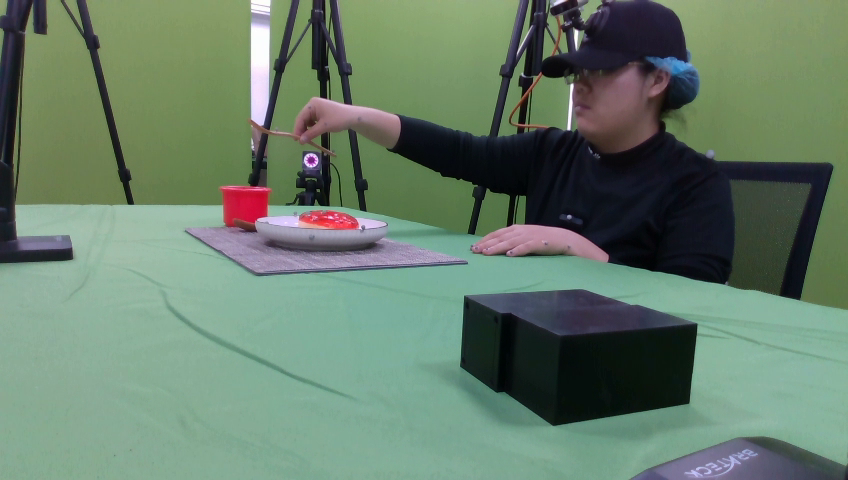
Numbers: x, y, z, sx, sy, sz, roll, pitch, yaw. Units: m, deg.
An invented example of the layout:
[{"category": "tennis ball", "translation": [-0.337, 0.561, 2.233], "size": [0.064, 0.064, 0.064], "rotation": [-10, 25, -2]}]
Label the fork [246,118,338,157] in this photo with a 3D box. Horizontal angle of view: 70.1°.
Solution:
[{"category": "fork", "translation": [-0.242, -0.190, 1.139], "size": [0.028, 0.018, 0.208], "rotation": [15, 1, 42]}]

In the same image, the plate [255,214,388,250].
[{"category": "plate", "translation": [-0.161, -0.013, 0.961], "size": [0.209, 0.038, 0.209], "rotation": [2, 7, 0]}]

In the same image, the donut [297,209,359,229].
[{"category": "donut", "translation": [-0.151, -0.023, 0.955], "size": [0.099, 0.048, 0.099], "rotation": [5, 7, 0]}]

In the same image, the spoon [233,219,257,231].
[{"category": "spoon", "translation": [-0.250, -0.028, 1.108], "size": [0.195, 0.021, 0.041], "rotation": [-2, -9, -29]}]
